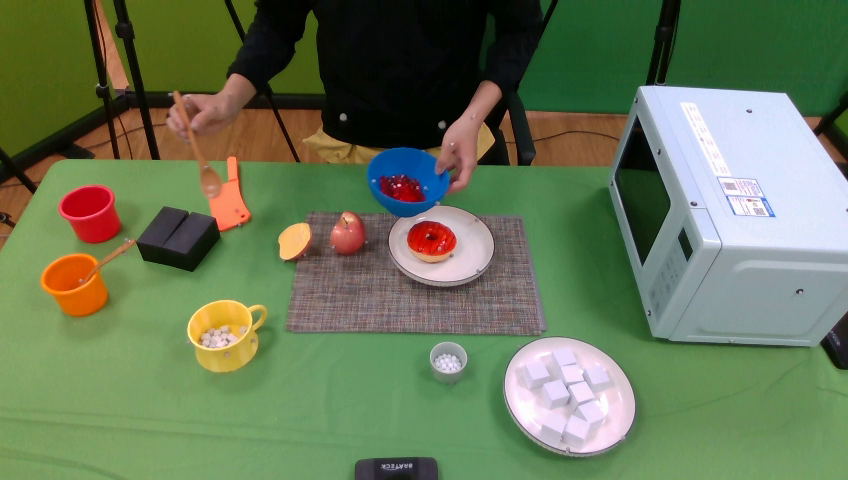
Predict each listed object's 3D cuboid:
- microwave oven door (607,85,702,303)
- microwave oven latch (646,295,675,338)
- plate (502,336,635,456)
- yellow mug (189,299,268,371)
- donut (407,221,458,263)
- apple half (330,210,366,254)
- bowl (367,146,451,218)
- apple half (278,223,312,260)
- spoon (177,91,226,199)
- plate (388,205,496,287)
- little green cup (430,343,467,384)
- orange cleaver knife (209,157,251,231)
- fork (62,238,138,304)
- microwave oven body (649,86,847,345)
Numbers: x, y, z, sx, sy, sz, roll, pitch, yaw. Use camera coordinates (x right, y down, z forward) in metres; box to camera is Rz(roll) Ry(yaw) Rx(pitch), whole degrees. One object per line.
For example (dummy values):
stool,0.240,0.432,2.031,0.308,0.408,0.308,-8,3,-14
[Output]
microwave oven door,0.423,-0.094,1.141,0.039,0.245,0.353,2,46,-1
microwave oven latch,0.412,0.134,1.061,0.030,0.029,0.078,4,45,1
plate,0.225,0.248,0.964,0.208,0.039,0.206,2,46,-2
yellow mug,-0.316,0.148,1.002,0.131,0.064,0.099,-33,56,-31
donut,0.016,0.002,1.165,0.099,0.048,0.098,3,43,-3
apple half,-0.139,-0.009,1.157,0.053,0.075,0.080,17,44,8
bowl,-0.031,-0.095,1.117,0.151,0.077,0.150,6,48,-6
apple half,-0.240,0.007,1.157,0.081,0.033,0.081,-16,53,22
spoon,-0.392,-0.165,1.059,0.041,0.194,0.021,-14,14,14
plate,0.033,0.014,1.171,0.209,0.038,0.208,2,46,-2
little green cup,0.039,0.203,0.994,0.061,0.039,0.061,2,46,-2
orange cleaver knife,-0.409,-0.099,1.266,0.077,0.012,0.210,-13,50,-10
fork,-0.547,0.053,1.018,0.207,0.019,0.028,-36,41,23
microwave oven body,0.568,-0.053,1.118,0.326,0.261,0.439,2,45,-1
